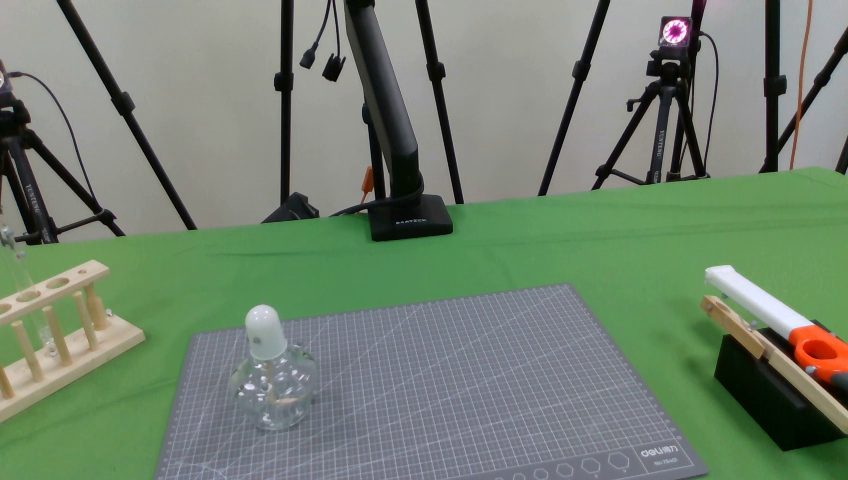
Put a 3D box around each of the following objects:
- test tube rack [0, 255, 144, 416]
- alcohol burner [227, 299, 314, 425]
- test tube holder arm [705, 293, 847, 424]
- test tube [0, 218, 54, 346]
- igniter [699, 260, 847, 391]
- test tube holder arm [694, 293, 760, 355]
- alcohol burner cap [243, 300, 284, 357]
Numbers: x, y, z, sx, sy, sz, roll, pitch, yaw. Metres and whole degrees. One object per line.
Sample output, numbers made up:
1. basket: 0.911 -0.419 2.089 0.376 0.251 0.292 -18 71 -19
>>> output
1. test tube rack: -0.412 0.110 0.591 0.066 0.086 0.242 18 34 32
2. alcohol burner: -0.140 0.106 0.546 0.078 0.120 0.077 -1 27 1
3. test tube holder arm: 0.305 0.097 0.535 0.013 0.015 0.176 -7 28 -15
4. test tube: -0.399 0.046 0.604 0.017 0.151 0.017 -1 31 1
5. igniter: 0.344 0.086 0.546 0.057 0.025 0.274 -8 26 -9
6. test tube holder arm: 0.287 0.078 0.572 0.010 0.015 0.087 -7 28 -13
7. alcohol burner cap: -0.142 0.075 0.528 0.034 0.048 0.033 -2 33 2
